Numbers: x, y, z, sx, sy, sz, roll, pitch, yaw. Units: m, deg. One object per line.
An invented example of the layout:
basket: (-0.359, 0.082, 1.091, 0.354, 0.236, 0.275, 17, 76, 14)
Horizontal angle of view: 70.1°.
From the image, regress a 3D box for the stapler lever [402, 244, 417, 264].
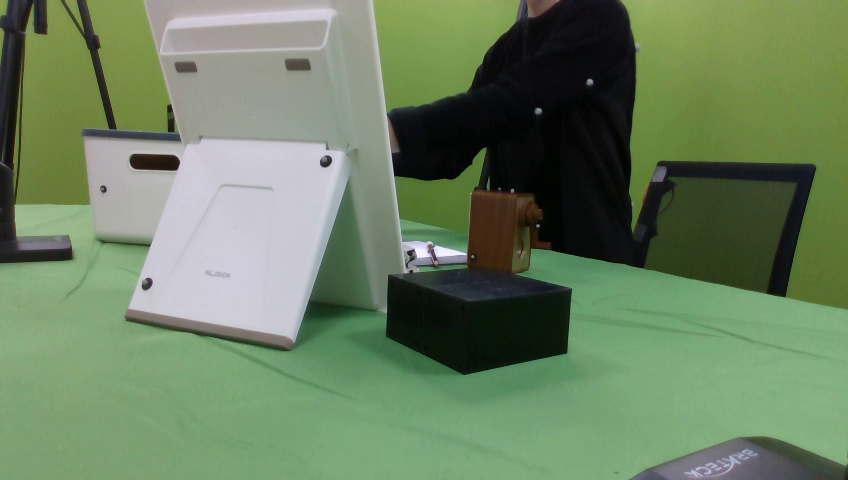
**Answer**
stapler lever: (-0.066, 0.002, 0.754, 0.117, 0.040, 0.027, 9, 14, 23)

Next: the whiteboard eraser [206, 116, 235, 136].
whiteboard eraser: (-0.450, -0.252, 1.335, 0.056, 0.042, 0.112, 1, 7, -22)

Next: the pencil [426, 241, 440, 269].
pencil: (0.013, 0.022, 0.885, 0.012, 0.012, 0.194, 2, 9, -3)

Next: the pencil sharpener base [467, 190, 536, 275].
pencil sharpener base: (0.106, -0.012, 0.808, 0.076, 0.107, 0.061, 8, 8, 33)

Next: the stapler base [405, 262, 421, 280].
stapler base: (-0.069, 0.026, 0.759, 0.130, 0.024, 0.041, 9, 14, 23)

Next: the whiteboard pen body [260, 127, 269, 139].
whiteboard pen body: (-0.366, -0.247, 1.392, 0.017, 0.017, 0.140, 0, 3, -17)

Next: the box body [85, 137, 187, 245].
box body: (-0.340, -0.088, 1.022, 0.254, 0.160, 0.364, 4, 7, 11)

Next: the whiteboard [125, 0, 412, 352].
whiteboard: (-0.151, -0.049, 0.472, 0.216, 0.305, 0.144, 6, 27, 24)

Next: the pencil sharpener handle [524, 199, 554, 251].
pencil sharpener handle: (0.151, -0.019, 0.782, 0.030, 0.068, 0.036, 8, 23, 33)

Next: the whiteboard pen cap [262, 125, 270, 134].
whiteboard pen cap: (-0.349, -0.244, 1.337, 0.018, 0.018, 0.033, 0, 2, -17)

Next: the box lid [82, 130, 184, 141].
box lid: (-0.337, -0.161, 1.011, 0.263, 0.015, 0.372, 4, 6, 11)
